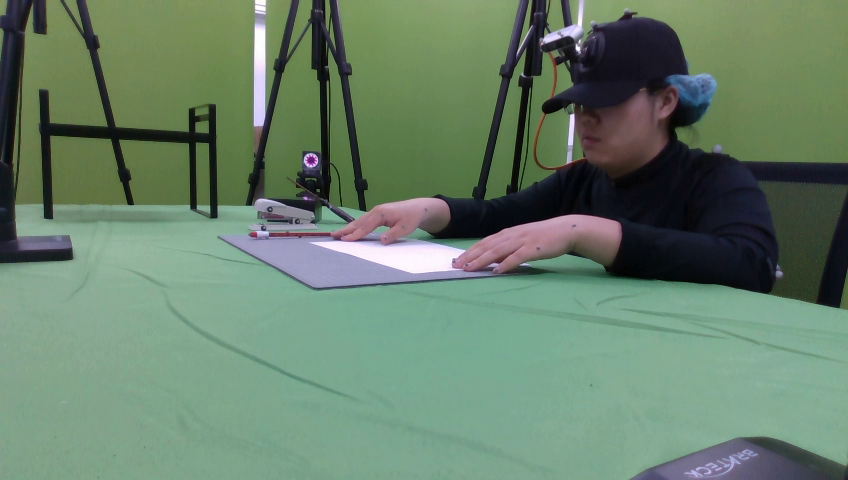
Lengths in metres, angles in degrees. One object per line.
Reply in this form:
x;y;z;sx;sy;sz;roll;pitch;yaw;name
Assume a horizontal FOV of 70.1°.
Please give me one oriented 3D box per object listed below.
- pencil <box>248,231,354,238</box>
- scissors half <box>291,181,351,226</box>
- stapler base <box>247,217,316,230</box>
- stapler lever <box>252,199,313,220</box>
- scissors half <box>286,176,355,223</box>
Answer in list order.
-0.206;-0.008;1.039;0.195;0.012;0.012;0;7;-36;pencil
-0.232;-0.085;1.317;0.175;0.013;0.040;38;20;4;scissors half
-0.276;-0.033;1.172;0.131;0.024;0.041;0;10;-37;stapler base
-0.273;-0.058;1.170;0.119;0.040;0.026;0;10;-37;stapler lever
-0.229;-0.091;1.337;0.175;0.013;0.040;33;15;-13;scissors half
